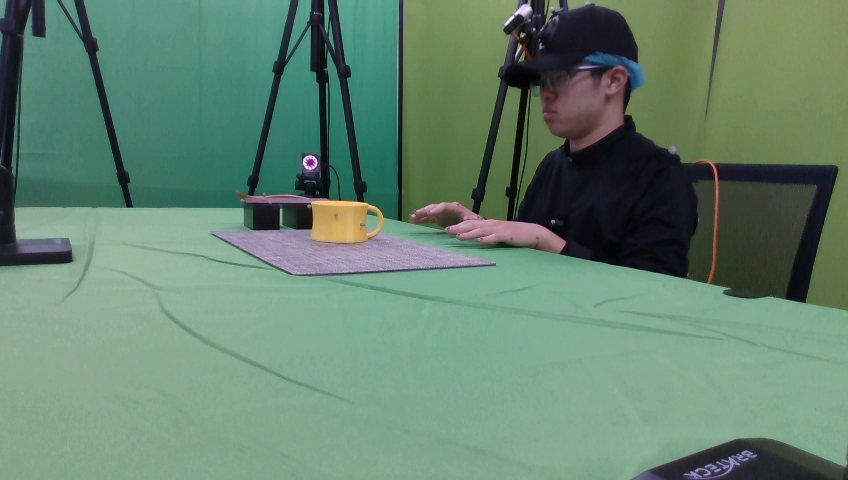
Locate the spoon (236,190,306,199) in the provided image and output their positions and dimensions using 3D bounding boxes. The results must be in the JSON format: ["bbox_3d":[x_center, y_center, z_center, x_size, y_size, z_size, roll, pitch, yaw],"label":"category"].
[{"bbox_3d":[-0.290,-0.088,1.248,0.195,0.021,0.041,0,5,-32],"label":"spoon"}]

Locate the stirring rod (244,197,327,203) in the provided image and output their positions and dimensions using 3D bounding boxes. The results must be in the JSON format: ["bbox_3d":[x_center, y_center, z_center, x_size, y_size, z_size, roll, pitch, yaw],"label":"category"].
[{"bbox_3d":[-0.271,-0.079,1.201,0.177,0.006,0.014,-2,46,-36],"label":"stirring rod"}]

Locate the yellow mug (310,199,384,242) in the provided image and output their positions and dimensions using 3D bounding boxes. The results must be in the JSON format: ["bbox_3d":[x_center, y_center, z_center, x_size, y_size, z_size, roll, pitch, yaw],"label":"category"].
[{"bbox_3d":[-0.132,-0.035,1.054,0.131,0.064,0.099,0,8,-23],"label":"yellow mug"}]
